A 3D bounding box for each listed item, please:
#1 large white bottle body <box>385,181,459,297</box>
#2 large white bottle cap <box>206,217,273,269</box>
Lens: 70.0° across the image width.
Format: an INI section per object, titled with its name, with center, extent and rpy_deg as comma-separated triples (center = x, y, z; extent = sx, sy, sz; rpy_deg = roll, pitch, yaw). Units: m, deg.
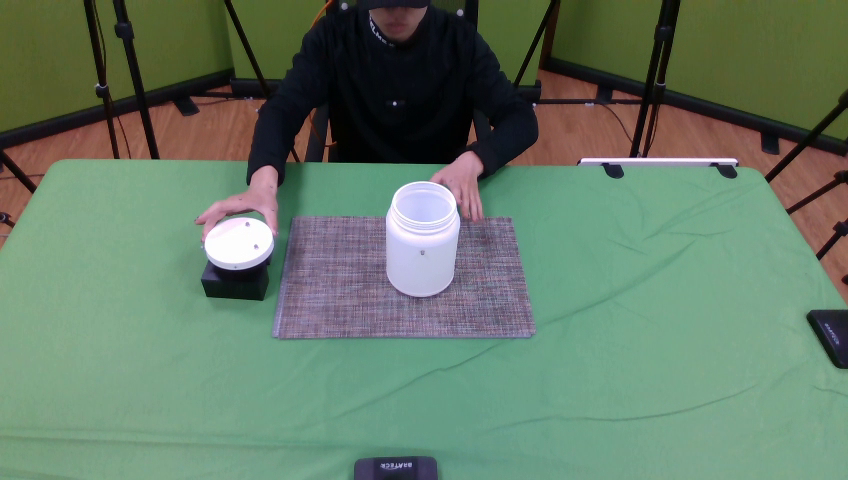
[large white bottle body]
center = -0.004, -0.002, 1.082
extent = 0.131, 0.185, 0.130
rpy_deg = 2, 46, -2
[large white bottle cap]
center = -0.325, 0.004, 1.069
extent = 0.115, 0.018, 0.114
rpy_deg = 2, 45, -2
